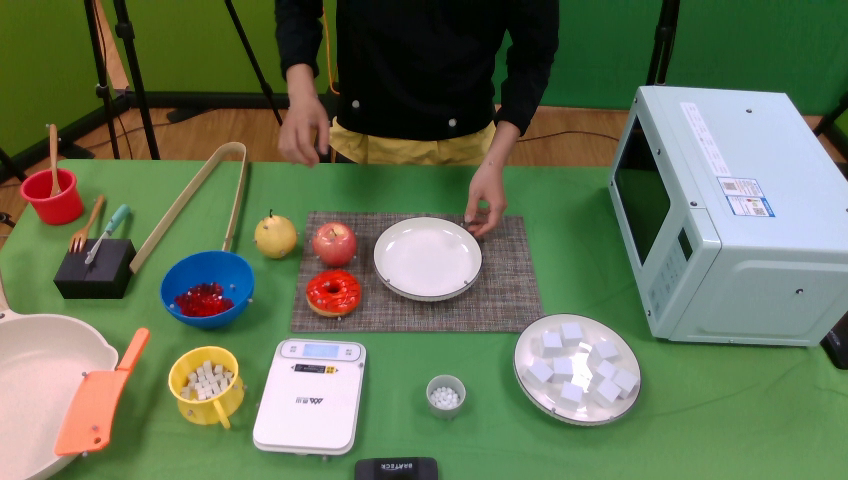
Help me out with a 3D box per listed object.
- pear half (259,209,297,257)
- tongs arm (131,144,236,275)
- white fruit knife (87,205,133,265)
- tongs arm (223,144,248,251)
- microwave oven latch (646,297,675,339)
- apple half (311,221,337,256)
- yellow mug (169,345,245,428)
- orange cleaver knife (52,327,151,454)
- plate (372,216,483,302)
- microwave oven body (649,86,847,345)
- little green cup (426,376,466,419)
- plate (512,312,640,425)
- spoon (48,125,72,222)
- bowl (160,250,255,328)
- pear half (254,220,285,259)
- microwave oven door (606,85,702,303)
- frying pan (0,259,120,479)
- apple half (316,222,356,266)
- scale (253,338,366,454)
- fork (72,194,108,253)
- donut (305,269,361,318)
[{"bbox_3d":[-0.273,-0.024,1.141,0.076,0.110,0.056,27,50,16],"label":"pear half"},{"bbox_3d":[-0.484,-0.076,1.236,0.028,0.028,0.385,5,45,14],"label":"tongs arm"},{"bbox_3d":[-0.584,-0.013,1.129,0.016,0.027,0.206,-1,32,-4],"label":"white fruit knife"},{"bbox_3d":[-0.397,-0.073,1.232,0.051,0.027,0.382,-3,45,1],"label":"tongs arm"},{"bbox_3d":[0.412,0.134,1.061,0.030,0.029,0.078,4,45,1],"label":"microwave oven latch"},{"bbox_3d":[-0.190,-0.001,1.143,0.032,0.081,0.081,27,50,18],"label":"apple half"},{"bbox_3d":[-0.322,0.230,0.922,0.100,0.064,0.130,-24,53,-25],"label":"yellow mug"},{"bbox_3d":[-0.462,0.212,0.879,0.077,0.012,0.210,7,45,-2],"label":"orange cleaver knife"},{"bbox_3d":[0.006,0.038,1.145,0.209,0.038,0.208,2,46,-2],"label":"plate"},{"bbox_3d":[0.567,-0.053,1.118,0.326,0.261,0.439,2,45,-1],"label":"microwave oven body"},{"bbox_3d":[0.033,0.248,0.950,0.061,0.039,0.061,2,46,-2],"label":"little green cup"},{"bbox_3d":[0.246,0.213,0.999,0.208,0.039,0.206,2,46,-2],"label":"plate"},{"bbox_3d":[-0.718,-0.131,1.189,0.041,0.021,0.193,-3,90,-6],"label":"spoon"},{"bbox_3d":[-0.362,0.098,1.040,0.151,0.077,0.150,2,45,-2],"label":"bowl"},{"bbox_3d":[-0.293,0.003,1.127,0.070,0.088,0.031,25,49,16],"label":"pear half"},{"bbox_3d":[0.422,-0.094,1.140,0.039,0.245,0.353,2,46,-1],"label":"microwave oven door"},{"bbox_3d":[-0.647,0.164,0.936,0.307,0.103,0.485,-19,58,-22],"label":"frying pan"},{"bbox_3d":[-0.157,0.015,1.132,0.053,0.075,0.080,28,47,18],"label":"apple half"},{"bbox_3d":[-0.175,0.236,0.951,0.149,0.032,0.199,4,45,-1],"label":"scale"},{"bbox_3d":[-0.634,-0.036,1.158,0.028,0.019,0.206,-7,31,-9],"label":"fork"},{"bbox_3d":[-0.160,0.094,1.075,0.099,0.048,0.098,4,45,-3],"label":"donut"}]
